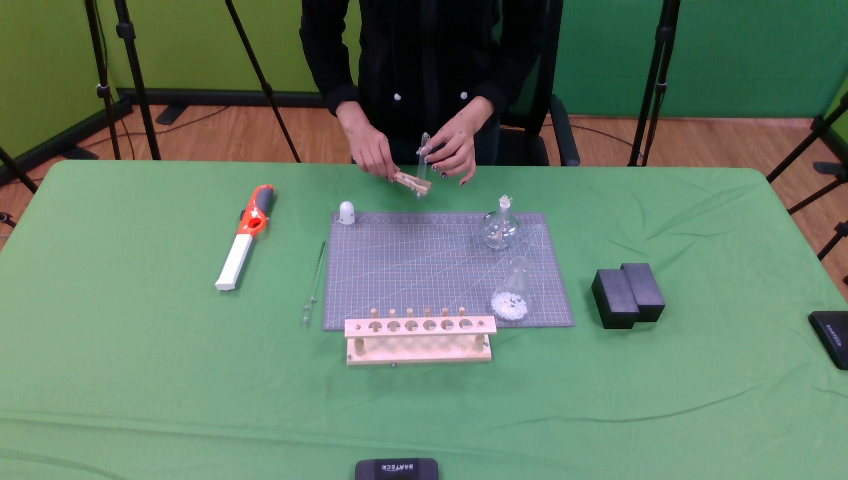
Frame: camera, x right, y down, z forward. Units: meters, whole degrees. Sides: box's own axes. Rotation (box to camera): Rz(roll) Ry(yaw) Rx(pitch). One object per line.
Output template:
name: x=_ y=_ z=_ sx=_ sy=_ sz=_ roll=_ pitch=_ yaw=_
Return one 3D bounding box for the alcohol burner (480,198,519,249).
alcohol burner: x=0.150 y=-0.039 z=1.182 sx=0.078 sy=0.119 sz=0.077 roll=3 pitch=47 yaw=-3

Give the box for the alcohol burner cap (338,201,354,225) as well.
alcohol burner cap: x=-0.159 y=-0.056 z=1.224 sx=0.034 sy=0.048 sz=0.033 roll=2 pitch=46 yaw=-2

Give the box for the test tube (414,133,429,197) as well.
test tube: x=-0.006 y=-0.140 z=1.159 sx=0.017 sy=0.151 sz=0.017 roll=4 pitch=47 yaw=-4

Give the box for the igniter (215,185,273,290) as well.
igniter: x=-0.348 y=-0.014 z=1.182 sx=0.057 sy=0.025 sz=0.275 roll=-1 pitch=45 yaw=8

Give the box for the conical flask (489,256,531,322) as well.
conical flask: x=0.158 y=0.081 z=1.061 sx=0.075 sy=0.122 sz=0.075 roll=2 pitch=46 yaw=-2

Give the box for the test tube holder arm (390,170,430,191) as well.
test tube holder arm: x=-0.030 y=-0.119 z=1.201 sx=0.087 sy=0.015 sz=0.010 roll=19 pitch=44 yaw=11

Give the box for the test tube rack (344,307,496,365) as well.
test tube rack: x=-0.009 y=0.154 z=1.007 sx=0.242 sy=0.085 sz=0.066 roll=-1 pitch=46 yaw=-5

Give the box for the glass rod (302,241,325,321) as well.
glass rod: x=-0.204 y=0.072 z=1.124 sx=0.008 sy=0.008 sz=0.198 roll=4 pitch=43 yaw=1

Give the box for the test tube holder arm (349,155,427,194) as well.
test tube holder arm: x=-0.073 y=-0.132 z=1.208 sx=0.178 sy=0.015 sz=0.013 roll=24 pitch=45 yaw=15
